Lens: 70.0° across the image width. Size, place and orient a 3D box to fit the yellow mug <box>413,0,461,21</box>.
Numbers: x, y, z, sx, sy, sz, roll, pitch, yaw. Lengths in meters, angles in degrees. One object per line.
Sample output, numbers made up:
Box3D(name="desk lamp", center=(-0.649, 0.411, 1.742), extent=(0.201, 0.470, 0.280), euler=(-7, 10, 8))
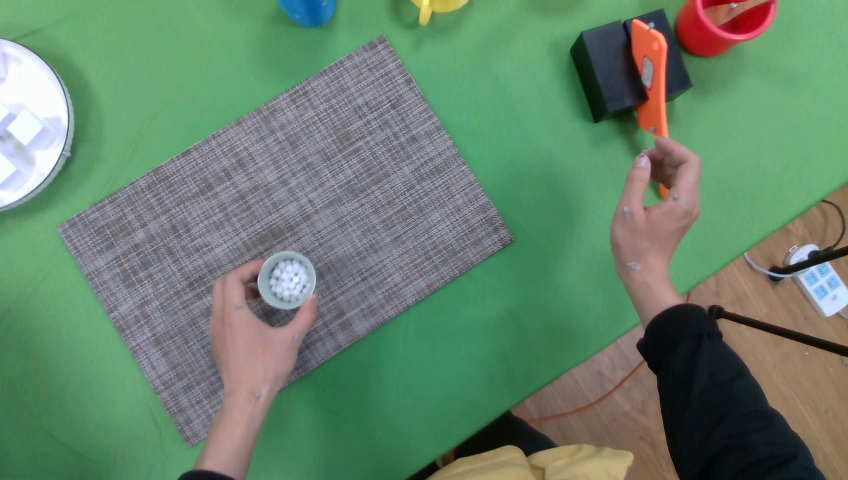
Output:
Box3D(name="yellow mug", center=(0.012, -0.326, 0.724), extent=(0.100, 0.064, 0.130), euler=(16, 86, -2))

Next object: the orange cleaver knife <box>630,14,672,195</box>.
Box3D(name="orange cleaver knife", center=(0.267, -0.157, 0.716), extent=(0.012, 0.076, 0.213), euler=(-17, 116, -2))

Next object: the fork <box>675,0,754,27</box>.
Box3D(name="fork", center=(0.399, -0.286, 0.700), extent=(0.206, 0.019, 0.028), euler=(-7, 82, 38))

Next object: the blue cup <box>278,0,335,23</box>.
Box3D(name="blue cup", center=(-0.139, -0.300, 0.698), extent=(0.093, 0.100, 0.092), euler=(0, 86, -4))

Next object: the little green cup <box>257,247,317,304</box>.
Box3D(name="little green cup", center=(-0.147, 0.039, 0.663), extent=(0.061, 0.038, 0.061), euler=(0, 89, 2))

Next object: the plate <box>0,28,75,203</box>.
Box3D(name="plate", center=(-0.506, -0.139, 0.699), extent=(0.208, 0.039, 0.207), euler=(0, 86, -3))
